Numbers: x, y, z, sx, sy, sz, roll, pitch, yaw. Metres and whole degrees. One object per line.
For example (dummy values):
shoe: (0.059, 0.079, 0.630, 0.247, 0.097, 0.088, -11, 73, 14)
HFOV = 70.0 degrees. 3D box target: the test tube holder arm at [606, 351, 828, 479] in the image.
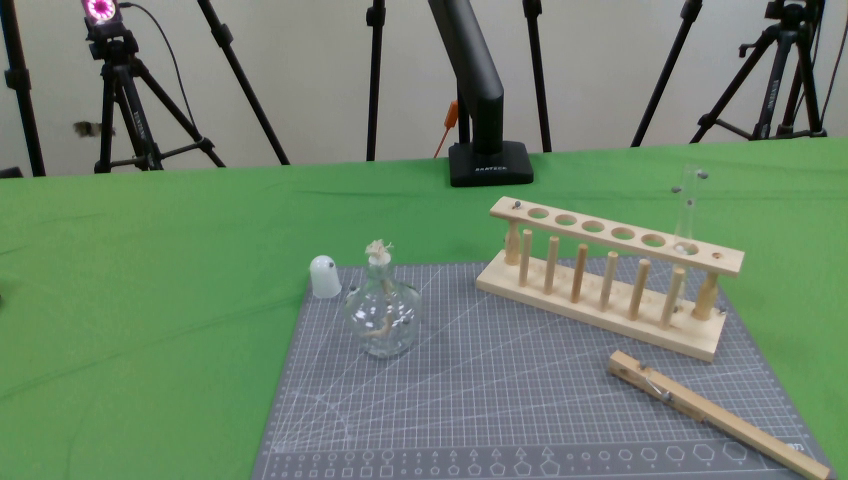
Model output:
test tube holder arm: (0.233, 0.140, 0.500, 0.177, 0.013, 0.015, 27, 50, 35)

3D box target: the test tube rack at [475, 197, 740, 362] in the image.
test tube rack: (0.173, 0.033, 0.610, 0.240, 0.086, 0.066, 16, 39, 27)

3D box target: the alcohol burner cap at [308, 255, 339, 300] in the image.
alcohol burner cap: (-0.112, 0.039, 0.666, 0.034, 0.048, 0.033, -1, 34, 1)

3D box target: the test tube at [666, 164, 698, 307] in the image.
test tube: (0.238, 0.000, 0.563, 0.017, 0.151, 0.017, -6, 31, 4)

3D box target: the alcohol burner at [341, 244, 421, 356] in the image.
alcohol burner: (-0.042, 0.052, 0.575, 0.078, 0.120, 0.077, -1, 35, 1)

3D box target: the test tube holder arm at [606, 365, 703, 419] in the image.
test tube holder arm: (0.201, 0.130, 0.530, 0.087, 0.010, 0.015, 22, 46, 40)
